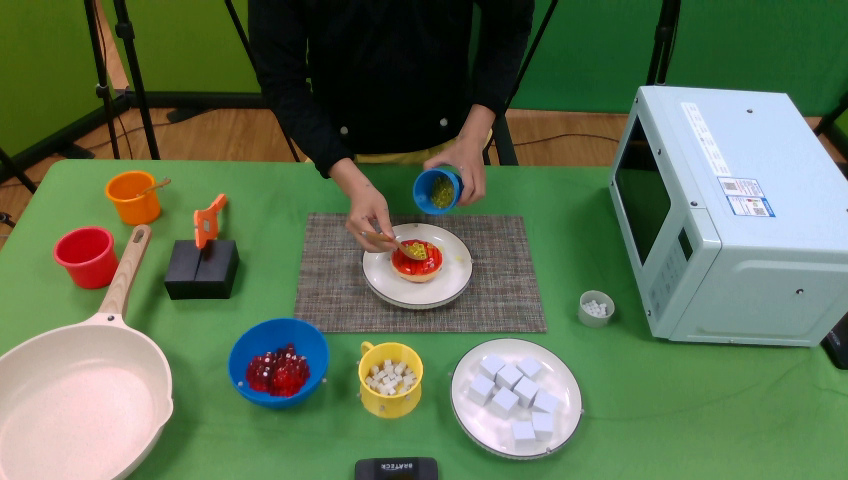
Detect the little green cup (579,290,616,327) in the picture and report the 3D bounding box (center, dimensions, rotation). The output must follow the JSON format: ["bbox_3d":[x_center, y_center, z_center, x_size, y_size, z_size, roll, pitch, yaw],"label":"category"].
[{"bbox_3d":[0.308,0.124,1.086,0.061,0.039,0.061,1,45,-1],"label":"little green cup"}]

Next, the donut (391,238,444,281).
[{"bbox_3d":[-0.011,0.035,1.128,0.099,0.048,0.098,2,43,-2],"label":"donut"}]

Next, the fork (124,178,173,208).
[{"bbox_3d":[-0.525,-0.089,1.153,0.207,0.019,0.028,-18,27,45],"label":"fork"}]

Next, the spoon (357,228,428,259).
[{"bbox_3d":[-0.052,0.003,1.029,0.041,0.195,0.021,38,96,34],"label":"spoon"}]

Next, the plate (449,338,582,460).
[{"bbox_3d":[0.141,0.251,0.955,0.208,0.039,0.206,2,46,-2],"label":"plate"}]

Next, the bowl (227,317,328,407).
[{"bbox_3d":[-0.222,0.203,0.947,0.151,0.077,0.150,2,46,-2],"label":"bowl"}]

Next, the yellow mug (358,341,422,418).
[{"bbox_3d":[-0.063,0.210,0.961,0.100,0.064,0.130,-29,54,-28],"label":"yellow mug"}]

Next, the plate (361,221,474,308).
[{"bbox_3d":[-0.011,0.049,1.130,0.209,0.038,0.208,2,46,-2],"label":"plate"}]

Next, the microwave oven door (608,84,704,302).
[{"bbox_3d":[0.424,-0.096,1.138,0.039,0.245,0.353,2,47,-1],"label":"microwave oven door"}]

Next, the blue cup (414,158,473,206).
[{"bbox_3d":[0.044,-0.110,1.146,0.092,0.093,0.100,32,22,24],"label":"blue cup"}]

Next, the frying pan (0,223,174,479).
[{"bbox_3d":[-0.505,0.169,0.941,0.307,0.103,0.485,5,54,-1],"label":"frying pan"}]

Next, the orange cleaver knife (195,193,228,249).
[{"bbox_3d":[-0.406,-0.041,1.163,0.012,0.077,0.210,0,18,-3],"label":"orange cleaver knife"}]

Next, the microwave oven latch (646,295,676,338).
[{"bbox_3d":[0.413,0.133,1.060,0.030,0.029,0.078,4,46,1],"label":"microwave oven latch"}]

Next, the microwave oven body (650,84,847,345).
[{"bbox_3d":[0.569,-0.054,1.116,0.326,0.261,0.439,2,46,-1],"label":"microwave oven body"}]
